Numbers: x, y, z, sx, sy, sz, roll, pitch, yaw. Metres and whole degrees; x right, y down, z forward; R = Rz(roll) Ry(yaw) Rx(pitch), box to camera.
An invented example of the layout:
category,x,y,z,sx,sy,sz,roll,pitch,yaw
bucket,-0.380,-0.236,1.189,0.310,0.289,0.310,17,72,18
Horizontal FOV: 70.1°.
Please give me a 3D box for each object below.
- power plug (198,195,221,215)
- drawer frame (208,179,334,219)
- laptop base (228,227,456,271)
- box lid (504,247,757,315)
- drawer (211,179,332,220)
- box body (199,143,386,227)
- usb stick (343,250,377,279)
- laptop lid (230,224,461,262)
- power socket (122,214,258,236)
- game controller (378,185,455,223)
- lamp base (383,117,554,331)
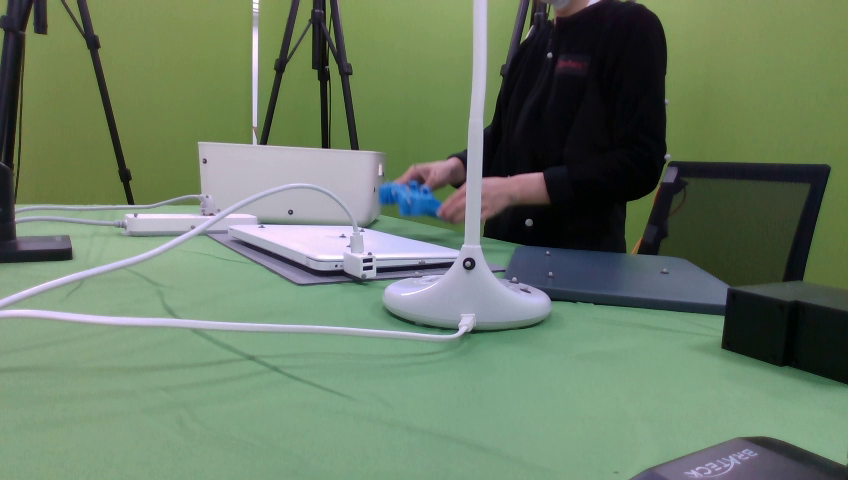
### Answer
category,x,y,z,sx,sy,sz,roll,pitch,yaw
power plug,-0.387,-0.055,1.089,0.035,0.052,0.072,-1,7,-22
drawer frame,-0.326,-0.093,1.328,0.213,0.082,0.202,-1,5,6
laptop base,-0.122,0.011,0.889,0.237,0.023,0.352,2,6,-35
box lid,0.244,0.044,0.793,0.263,0.015,0.372,4,7,10
drawer,-0.328,-0.095,1.332,0.212,0.073,0.194,5,8,6
box body,-0.276,-0.124,1.335,0.364,0.160,0.254,3,7,1
usb stick,-0.076,0.026,0.687,0.021,0.027,0.059,-8,8,-31
laptop lid,-0.120,0.000,0.889,0.243,0.013,0.355,1,7,-33
power socket,-0.399,-0.028,1.049,0.228,0.032,0.072,-3,8,-34
game controller,-0.018,-0.069,1.084,0.097,0.051,0.154,0,14,-29
lamp base,0.045,-0.019,0.547,0.161,0.180,0.179,2,10,-4
